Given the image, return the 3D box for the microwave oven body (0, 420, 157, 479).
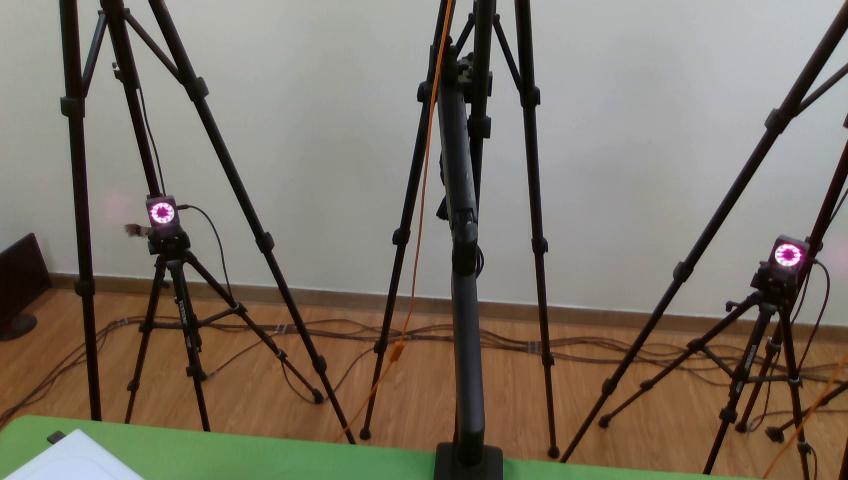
[{"bbox_3d":[-0.475,0.482,0.674,0.323,0.262,0.441,21,38,27],"label":"microwave oven body"}]
